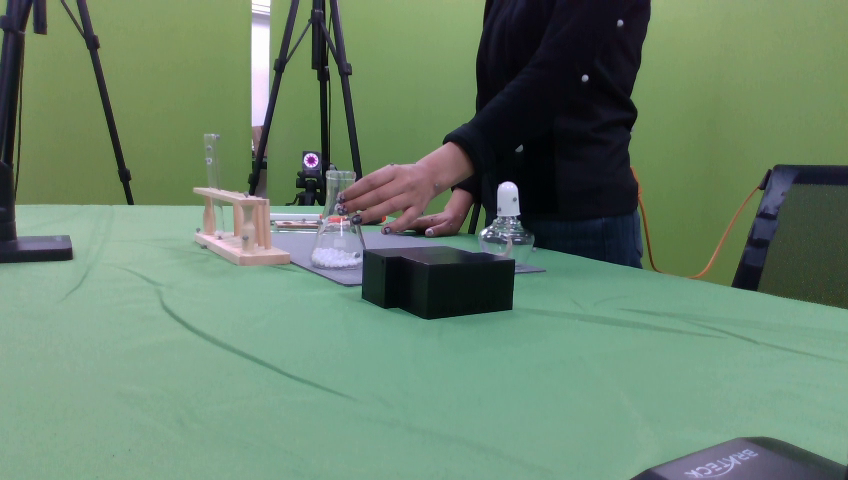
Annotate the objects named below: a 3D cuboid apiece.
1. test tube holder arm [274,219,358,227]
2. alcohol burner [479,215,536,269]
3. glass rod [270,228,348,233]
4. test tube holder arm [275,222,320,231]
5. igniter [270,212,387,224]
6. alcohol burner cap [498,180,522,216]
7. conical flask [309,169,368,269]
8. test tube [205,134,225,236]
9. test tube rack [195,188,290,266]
[{"bbox_3d":[-0.206,-0.032,1.177,0.179,0.015,0.013,-4,46,-40],"label":"test tube holder arm"},{"bbox_3d":[0.113,-0.021,0.816,0.078,0.119,0.078,2,9,0],"label":"alcohol burner"},{"bbox_3d":[-0.234,-0.017,1.105,0.201,0.008,0.008,1,7,-26],"label":"glass rod"},{"bbox_3d":[-0.238,-0.026,1.145,0.088,0.015,0.010,-3,45,-39],"label":"test tube holder arm"},{"bbox_3d":[-0.213,-0.048,1.278,0.278,0.025,0.057,-1,-2,-25],"label":"igniter"},{"bbox_3d":[0.114,-0.056,0.809,0.034,0.048,0.034,-4,12,1],"label":"alcohol burner cap"},{"bbox_3d":[-0.106,-0.028,0.762,0.075,0.122,0.075,2,7,0],"label":"conical flask"},{"bbox_3d":[-0.305,-0.079,0.883,0.017,0.150,0.017,-2,10,1],"label":"test tube"},{"bbox_3d":[-0.266,-0.025,0.864,0.067,0.085,0.241,-2,9,-33],"label":"test tube rack"}]
